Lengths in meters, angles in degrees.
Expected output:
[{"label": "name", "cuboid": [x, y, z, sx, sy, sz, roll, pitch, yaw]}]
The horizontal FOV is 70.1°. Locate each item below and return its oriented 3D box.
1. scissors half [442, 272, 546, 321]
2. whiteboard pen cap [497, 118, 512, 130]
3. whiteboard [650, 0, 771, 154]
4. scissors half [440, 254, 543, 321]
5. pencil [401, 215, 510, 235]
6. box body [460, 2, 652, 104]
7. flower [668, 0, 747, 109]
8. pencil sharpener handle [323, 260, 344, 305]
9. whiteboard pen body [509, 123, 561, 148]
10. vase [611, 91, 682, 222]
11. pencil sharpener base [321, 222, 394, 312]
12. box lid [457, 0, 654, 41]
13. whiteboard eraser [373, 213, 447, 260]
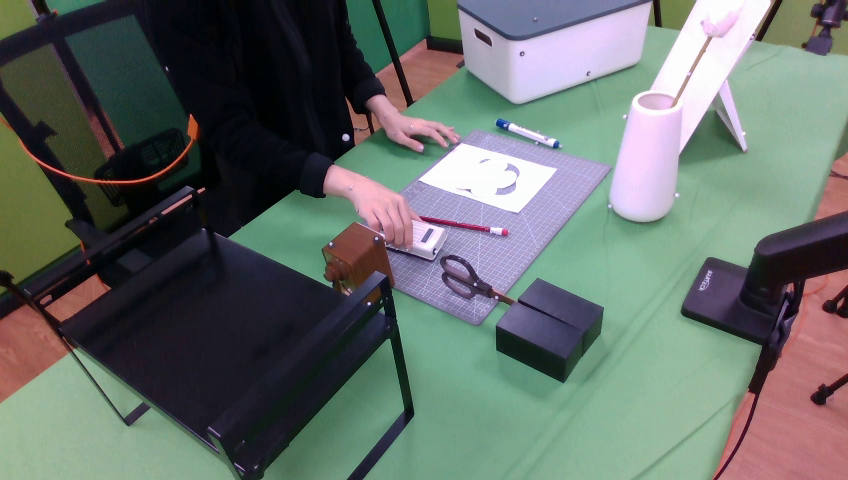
[{"label": "scissors half", "cuboid": [0.094, 0.080, 0.838, 0.173, 0.040, 0.013, 19, 46, 39]}, {"label": "whiteboard pen cap", "cuboid": [0.165, -0.235, 1.227, 0.033, 0.018, 0.018, 31, 53, 31]}, {"label": "whiteboard", "cuboid": [0.543, -0.298, 1.076, 0.144, 0.305, 0.216, 12, 40, -7]}, {"label": "scissors half", "cuboid": [0.091, 0.065, 0.825, 0.174, 0.040, 0.013, 32, 58, 25]}, {"label": "pencil", "cuboid": [0.049, -0.027, 1.007, 0.193, 0.012, 0.012, 10, 43, 21]}, {"label": "box body", "cuboid": [0.291, -0.465, 1.371, 0.365, 0.161, 0.252, -22, 42, -16]}, {"label": "flower", "cuboid": [0.354, -0.187, 0.879, 0.038, 0.362, 0.044, 30, 48, 14]}, {"label": "pencil sharpener handle", "cuboid": [-0.131, 0.061, 0.839, 0.035, 0.068, 0.031, 29, 56, 28]}, {"label": "whiteboard pen body", "cuboid": [0.208, -0.211, 1.196, 0.139, 0.017, 0.017, 30, 52, 33]}, {"label": "vase", "cuboid": [0.348, -0.125, 0.935, 0.098, 0.201, 0.097, -3, 40, 3]}, {"label": "pencil sharpener base", "cuboid": [-0.096, 0.041, 0.873, 0.061, 0.107, 0.077, 26, 54, 32]}, {"label": "box lid", "cuboid": [0.285, -0.522, 1.323, 0.373, 0.015, 0.261, -22, 43, -16]}, {"label": "whiteboard eraser", "cuboid": [-0.023, -0.004, 0.963, 0.112, 0.042, 0.055, 15, 49, 24]}]
